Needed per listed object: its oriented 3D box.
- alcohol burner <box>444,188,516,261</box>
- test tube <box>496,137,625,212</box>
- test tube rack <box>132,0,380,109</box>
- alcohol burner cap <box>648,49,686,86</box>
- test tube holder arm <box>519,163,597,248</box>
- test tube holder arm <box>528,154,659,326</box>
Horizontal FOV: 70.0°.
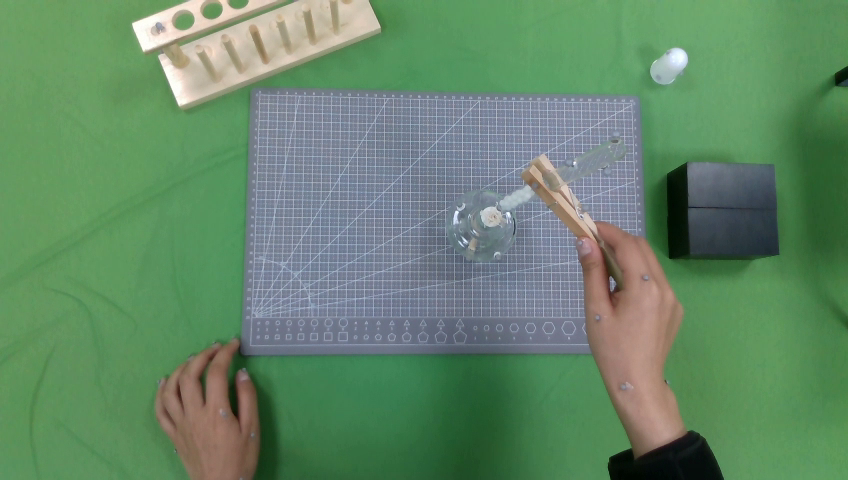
[{"bbox_3d":[0.061,-0.019,0.628,0.078,0.119,0.077,1,83,-4],"label":"alcohol burner"},{"bbox_3d":[0.101,-0.048,0.481,0.017,0.150,0.017,6,75,-25],"label":"test tube"},{"bbox_3d":[-0.172,-0.231,0.656,0.242,0.085,0.066,-24,84,-6],"label":"test tube rack"},{"bbox_3d":[0.285,-0.203,0.705,0.034,0.048,0.033,0,82,-2],"label":"alcohol burner cap"},{"bbox_3d":[0.111,-0.027,0.491,0.088,0.015,0.010,45,66,-14],"label":"test tube holder arm"},{"bbox_3d":[0.143,0.003,0.503,0.013,0.015,0.179,-45,103,-24],"label":"test tube holder arm"}]
